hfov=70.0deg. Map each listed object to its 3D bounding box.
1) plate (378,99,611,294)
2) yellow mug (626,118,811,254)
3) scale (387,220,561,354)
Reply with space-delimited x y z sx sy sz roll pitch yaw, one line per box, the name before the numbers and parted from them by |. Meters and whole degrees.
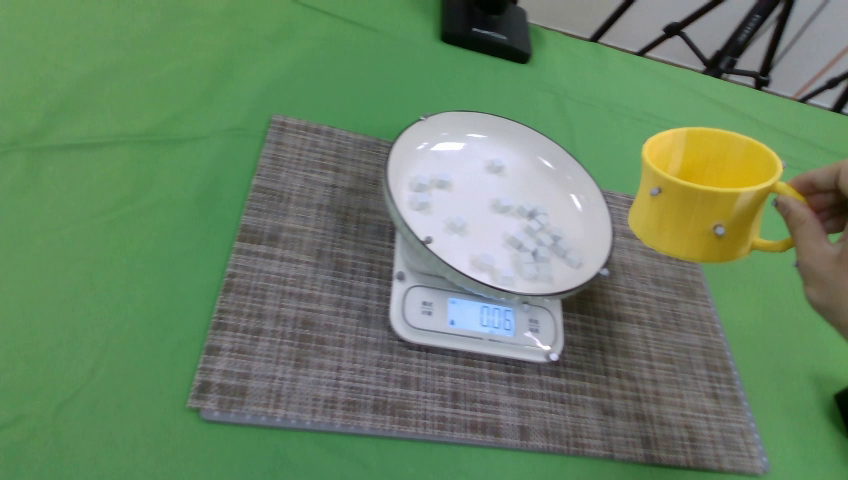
plate | 0.060 -0.039 0.525 0.210 0.038 0.207 11 51 -13
yellow mug | 0.228 -0.039 0.468 0.129 0.064 0.100 29 48 32
scale | 0.045 -0.001 0.534 0.149 0.032 0.199 11 51 -12
